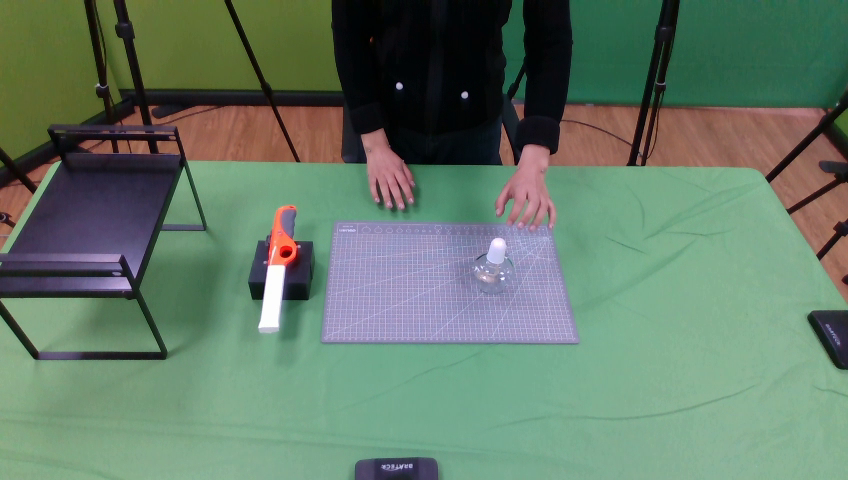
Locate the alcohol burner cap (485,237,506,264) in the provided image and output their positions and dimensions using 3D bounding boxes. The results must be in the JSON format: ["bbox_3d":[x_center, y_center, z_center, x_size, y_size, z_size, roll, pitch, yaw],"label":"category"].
[{"bbox_3d":[0.129,0.016,1.076,0.034,0.048,0.033,6,41,-5],"label":"alcohol burner cap"}]

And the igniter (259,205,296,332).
[{"bbox_3d":[-0.259,0.040,1.071,0.057,0.025,0.274,0,50,-5],"label":"igniter"}]

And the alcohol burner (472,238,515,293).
[{"bbox_3d":[0.128,0.041,1.101,0.078,0.120,0.077,1,47,-1],"label":"alcohol burner"}]
